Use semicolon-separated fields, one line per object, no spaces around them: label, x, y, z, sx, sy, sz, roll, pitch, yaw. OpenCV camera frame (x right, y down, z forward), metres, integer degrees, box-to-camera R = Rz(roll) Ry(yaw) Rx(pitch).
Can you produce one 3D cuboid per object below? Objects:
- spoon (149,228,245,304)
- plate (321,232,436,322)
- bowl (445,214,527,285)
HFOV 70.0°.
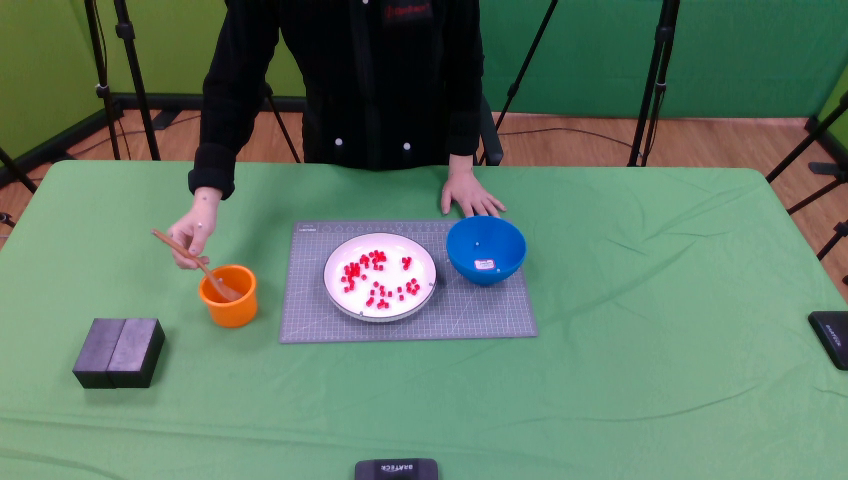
spoon;-0.369;0.043;0.992;0.021;0.195;0.041;-36;29;5
plate;-0.083;0.070;1.109;0.209;0.038;0.208;3;46;-3
bowl;0.112;0.031;1.134;0.151;0.077;0.150;2;46;-2
